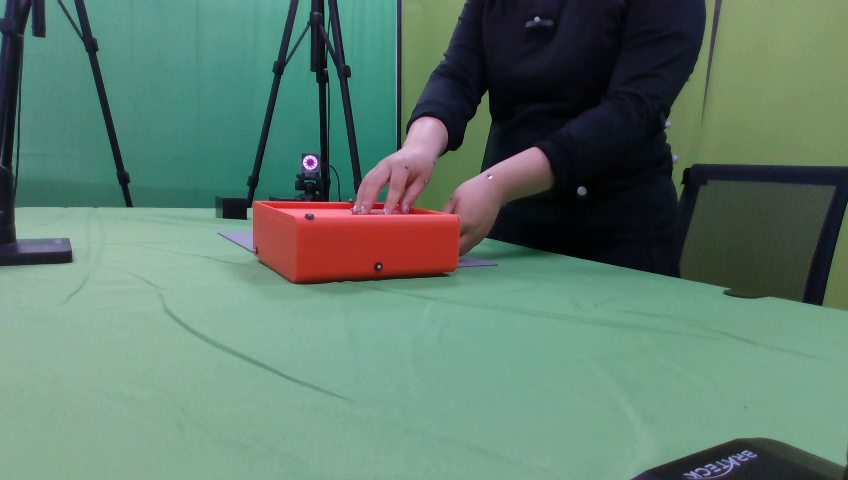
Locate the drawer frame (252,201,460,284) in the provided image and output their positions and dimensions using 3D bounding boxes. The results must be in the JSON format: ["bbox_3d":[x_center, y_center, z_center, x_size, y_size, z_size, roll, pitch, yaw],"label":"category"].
[{"bbox_3d":[-0.094,-0.005,0.788,0.215,0.082,0.200,-2,10,-30],"label":"drawer frame"}]

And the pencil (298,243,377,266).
[{"bbox_3d":[-0.106,0.016,0.791,0.012,0.012,0.195,6,8,22],"label":"pencil"}]

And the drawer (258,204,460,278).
[{"bbox_3d":[-0.090,-0.005,0.792,0.213,0.073,0.193,-3,10,-29],"label":"drawer"}]
